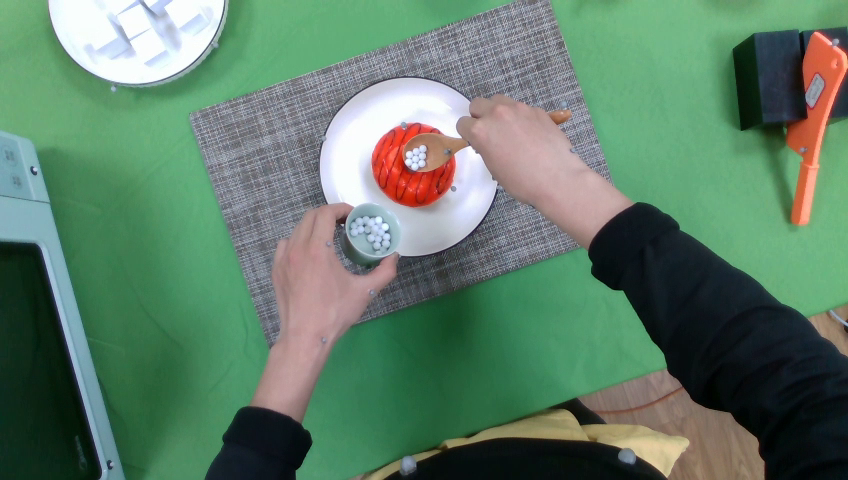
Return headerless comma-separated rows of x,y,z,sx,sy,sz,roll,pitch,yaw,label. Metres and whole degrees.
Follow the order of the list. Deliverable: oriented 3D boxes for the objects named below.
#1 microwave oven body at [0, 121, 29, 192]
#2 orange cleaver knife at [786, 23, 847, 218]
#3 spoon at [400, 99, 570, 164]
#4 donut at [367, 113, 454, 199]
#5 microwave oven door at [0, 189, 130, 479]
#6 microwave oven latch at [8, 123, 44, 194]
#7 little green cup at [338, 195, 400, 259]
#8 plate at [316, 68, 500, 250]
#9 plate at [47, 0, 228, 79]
-0.557,0.119,0.593,0.326,0.260,0.441,-16,90,0,microwave oven body
0.428,-0.129,0.678,0.012,0.076,0.213,-4,119,3,orange cleaver knife
0.053,-0.108,0.599,0.193,0.021,0.042,-6,106,41,spoon
-0.015,-0.095,0.689,0.099,0.048,0.099,0,92,3,donut
-0.405,0.120,0.586,0.039,0.244,0.355,-16,89,0,microwave oven door
-0.461,-0.090,0.689,0.030,0.029,0.079,-15,90,0,microwave oven latch
-0.059,-0.011,0.625,0.062,0.039,0.061,11,57,-17,little green cup
-0.018,-0.092,0.700,0.209,0.038,0.209,0,90,1,plate
-0.328,-0.288,0.708,0.208,0.039,0.207,0,89,1,plate
